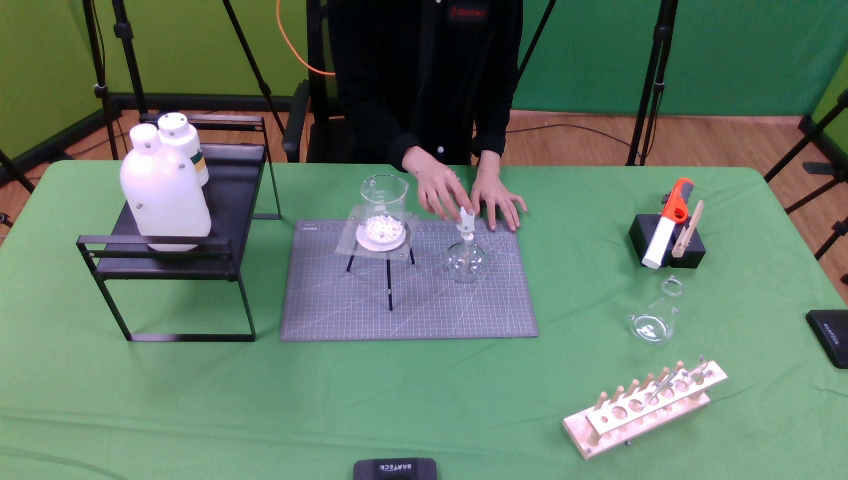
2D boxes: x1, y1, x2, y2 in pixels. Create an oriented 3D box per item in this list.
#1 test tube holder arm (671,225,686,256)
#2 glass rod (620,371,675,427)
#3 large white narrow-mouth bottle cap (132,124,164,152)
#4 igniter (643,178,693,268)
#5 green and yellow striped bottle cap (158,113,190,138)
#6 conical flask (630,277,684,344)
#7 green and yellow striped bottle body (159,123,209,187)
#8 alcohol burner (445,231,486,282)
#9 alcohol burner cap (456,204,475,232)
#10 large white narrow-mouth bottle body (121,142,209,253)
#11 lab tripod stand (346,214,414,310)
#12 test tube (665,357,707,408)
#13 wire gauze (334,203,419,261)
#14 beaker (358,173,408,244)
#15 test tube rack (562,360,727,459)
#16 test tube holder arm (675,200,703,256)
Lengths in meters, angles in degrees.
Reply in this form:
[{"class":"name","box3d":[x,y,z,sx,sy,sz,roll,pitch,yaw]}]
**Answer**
[{"class":"test tube holder arm","box3d":[0.494,0.001,1.167,0.010,0.015,0.087,1,36,42]},{"class":"glass rod","box3d":[0.315,0.230,0.863,0.008,0.200,0.008,3,54,-3]},{"class":"large white narrow-mouth bottle cap","box3d":[-0.370,-0.137,0.812,0.038,0.024,0.037,3,46,-3]},{"class":"igniter","box3d":[0.488,-0.042,1.205,0.057,0.025,0.276,30,51,11]},{"class":"green and yellow striped bottle cap","box3d":[-0.393,-0.180,0.951,0.045,0.020,0.045,2,44,-2]},{"class":"conical flask","box3d":[0.408,0.117,1.045,0.075,0.122,0.075,2,46,-2]},{"class":"green and yellow striped bottle body","box3d":[-0.395,-0.145,0.989,0.063,0.120,0.063,2,46,-2]},{"class":"alcohol burner","box3d":[0.077,0.021,1.115,0.078,0.120,0.077,1,48,-1]},{"class":"alcohol burner cap","box3d":[0.073,-0.040,1.055,0.034,0.048,0.033,1,43,-1]},{"class":"large white narrow-mouth bottle body","box3d":[-0.378,-0.077,0.875,0.102,0.195,0.101,3,46,-3]},{"class":"lab tripod stand","box3d":[-0.075,0.030,1.082,0.148,0.132,0.147,1,47,-1]},{"class":"test tube","box3d":[0.387,0.215,0.905,0.017,0.151,0.017,1,52,-1]},{"class":"wire gauze","box3d":[-0.079,-0.013,1.031,0.121,0.011,0.124,8,48,7]},{"class":"beaker","box3d":[-0.066,-0.050,1.001,0.084,0.101,0.073,-18,49,-20]},{"class":"test tube rack","box3d":[0.341,0.247,0.940,0.243,0.085,0.066,-16,49,-19]},{"class":"test tube holder arm","box3d":[0.523,-0.025,1.190,0.013,0.015,0.178,1,36,41]}]
